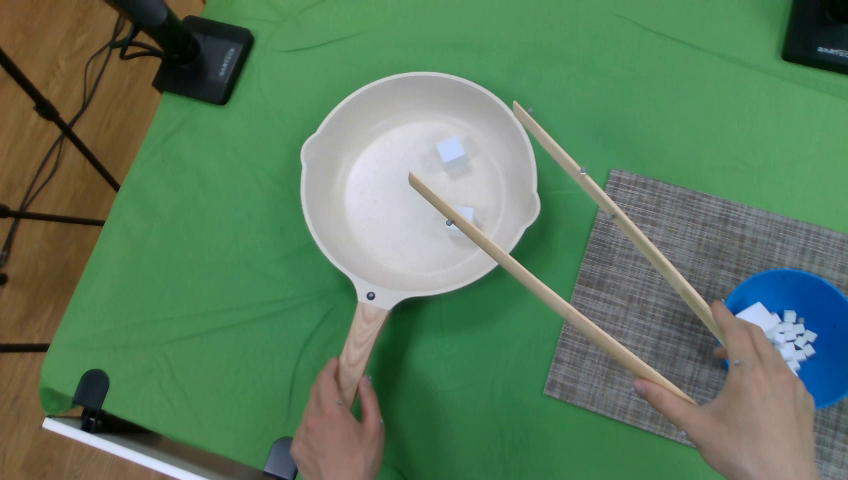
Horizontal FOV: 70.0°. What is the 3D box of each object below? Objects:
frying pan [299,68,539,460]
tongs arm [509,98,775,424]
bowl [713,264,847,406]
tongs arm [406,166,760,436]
[{"bbox_3d":[-0.042,0.020,0.731,0.306,0.103,0.485,17,70,11],"label":"frying pan"},{"bbox_3d":[0.179,0.000,0.568,0.051,0.027,0.381,-31,63,-12],"label":"tongs arm"},{"bbox_3d":[0.390,0.108,0.675,0.151,0.077,0.150,-1,76,6],"label":"bowl"},{"bbox_3d":[0.119,0.043,0.552,0.028,0.028,0.384,-40,65,-20],"label":"tongs arm"}]
